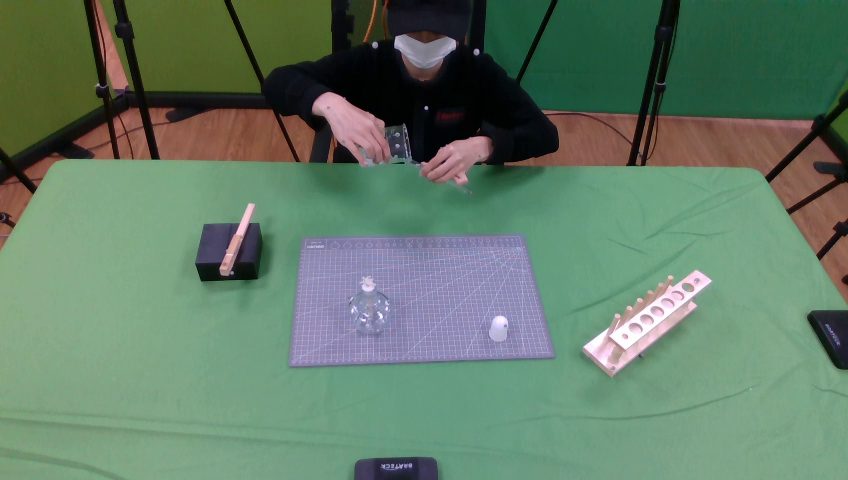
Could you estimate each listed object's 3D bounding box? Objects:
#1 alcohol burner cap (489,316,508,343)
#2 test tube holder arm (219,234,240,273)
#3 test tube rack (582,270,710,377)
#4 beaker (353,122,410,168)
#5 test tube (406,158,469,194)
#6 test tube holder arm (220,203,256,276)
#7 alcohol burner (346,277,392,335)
[{"bbox_3d":[0.130,0.151,1.045,0.034,0.048,0.033,2,46,-2],"label":"alcohol burner cap"},{"bbox_3d":[-0.344,0.023,1.076,0.015,0.010,0.087,5,45,2],"label":"test tube holder arm"},{"bbox_3d":[0.389,0.132,1.057,0.242,0.085,0.066,-28,54,-28],"label":"test tube rack"},{"bbox_3d":[-0.082,-0.177,1.158,0.100,0.084,0.073,-9,34,-5],"label":"beaker"},{"bbox_3d":[0.028,-0.126,1.215,0.151,0.017,0.017,25,40,-25],"label":"test tube"},{"bbox_3d":[-0.340,-0.005,1.112,0.015,0.013,0.177,5,46,2],"label":"test tube holder arm"},{"bbox_3d":[-0.093,0.106,1.021,0.078,0.120,0.077,1,46,-1],"label":"alcohol burner"}]
